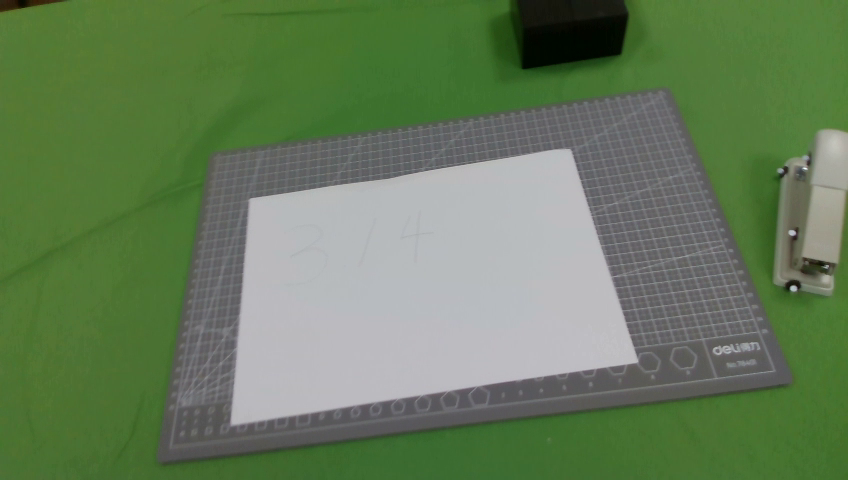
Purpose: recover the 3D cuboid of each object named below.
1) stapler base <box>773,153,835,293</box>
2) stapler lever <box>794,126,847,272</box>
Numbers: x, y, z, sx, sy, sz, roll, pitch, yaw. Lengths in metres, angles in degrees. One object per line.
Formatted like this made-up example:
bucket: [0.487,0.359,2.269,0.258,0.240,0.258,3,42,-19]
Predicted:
stapler base: [0.302,-0.022,0.473,0.041,0.025,0.130,12,61,19]
stapler lever: [0.298,-0.034,0.451,0.026,0.040,0.117,12,61,20]
